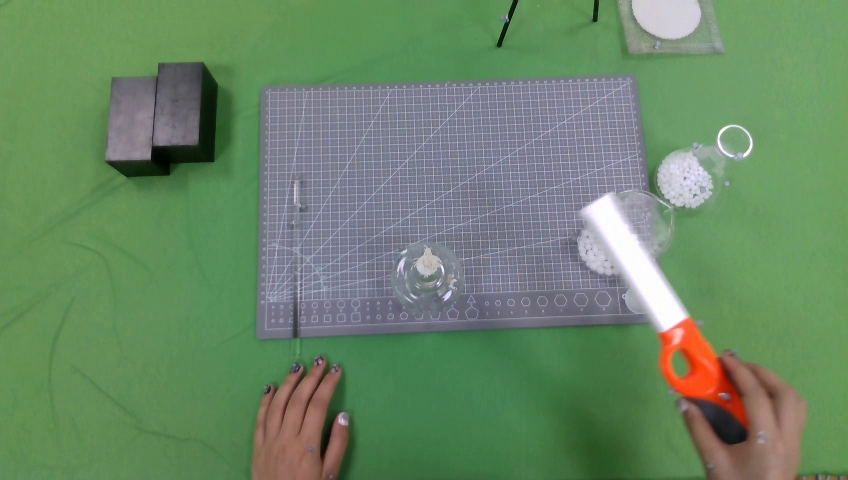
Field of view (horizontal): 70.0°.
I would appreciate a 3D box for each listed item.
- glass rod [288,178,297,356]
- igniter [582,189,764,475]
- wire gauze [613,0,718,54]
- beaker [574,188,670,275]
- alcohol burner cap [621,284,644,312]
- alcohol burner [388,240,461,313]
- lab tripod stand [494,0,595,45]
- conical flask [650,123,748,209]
[{"bbox_3d":[-0.146,0.028,0.674,0.008,0.008,0.199,-1,80,-1],"label":"glass rod"},{"bbox_3d":[0.222,0.082,0.536,0.057,0.025,0.276,-30,90,-6],"label":"igniter"},{"bbox_3d":[0.298,-0.287,0.755,0.125,0.011,0.121,-3,78,-3],"label":"wire gauze"},{"bbox_3d":[0.206,-0.006,0.640,0.084,0.100,0.073,-26,78,-6],"label":"beaker"},{"bbox_3d":[0.236,0.059,0.655,0.034,0.048,0.033,0,77,-1],"label":"alcohol burner cap"},{"bbox_3d":[0.000,0.034,0.621,0.078,0.119,0.077,0,76,1],"label":"alcohol burner"},{"bbox_3d":[0.138,-0.304,0.692,0.148,0.132,0.147,0,79,-1],"label":"lab tripod stand"},{"bbox_3d":[0.299,-0.084,0.651,0.075,0.122,0.075,0,76,0],"label":"conical flask"}]
